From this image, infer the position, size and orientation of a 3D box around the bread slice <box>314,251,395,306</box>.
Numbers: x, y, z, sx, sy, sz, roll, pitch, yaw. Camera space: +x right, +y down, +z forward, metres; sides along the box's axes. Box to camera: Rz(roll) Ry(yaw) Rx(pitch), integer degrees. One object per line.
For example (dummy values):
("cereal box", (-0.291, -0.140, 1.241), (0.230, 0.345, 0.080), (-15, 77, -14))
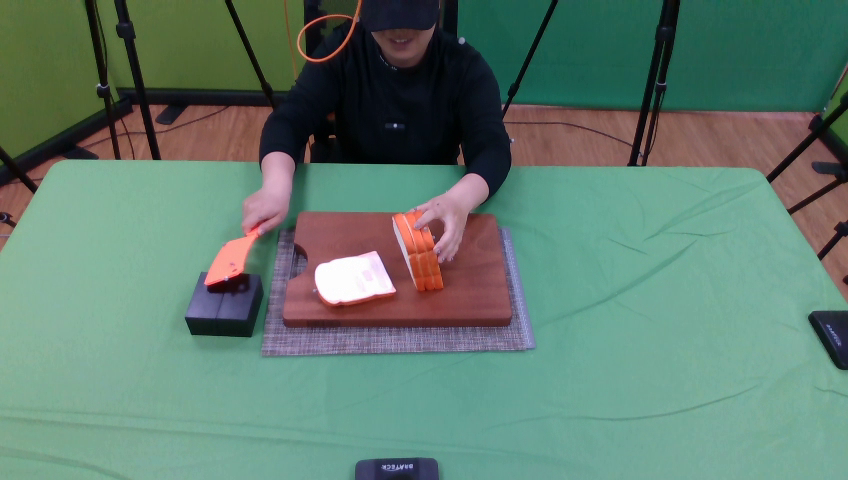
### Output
("bread slice", (-0.130, 0.071, 1.078), (0.132, 0.019, 0.104), (-11, 49, -21))

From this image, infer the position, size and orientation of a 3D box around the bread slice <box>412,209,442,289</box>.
("bread slice", (0.004, 0.013, 1.075), (0.018, 0.135, 0.106), (-17, 51, -6))

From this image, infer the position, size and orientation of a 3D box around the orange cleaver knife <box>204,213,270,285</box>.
("orange cleaver knife", (-0.338, 0.012, 1.108), (0.077, 0.012, 0.210), (-11, 32, 14))
